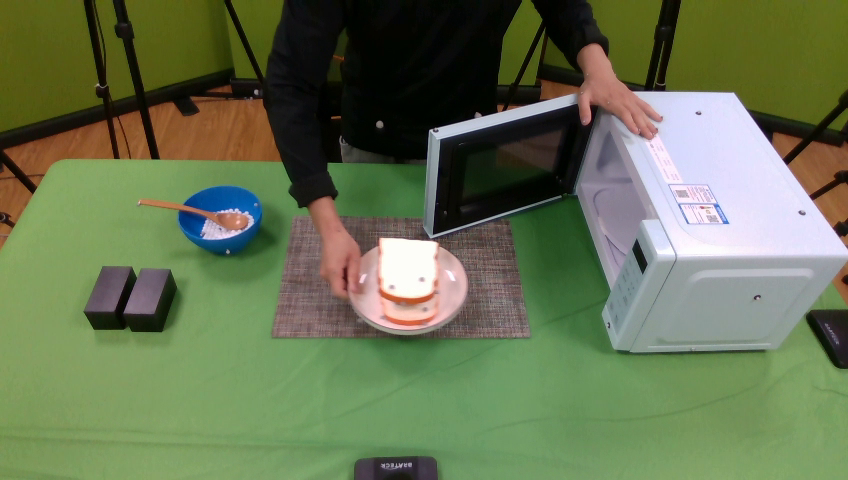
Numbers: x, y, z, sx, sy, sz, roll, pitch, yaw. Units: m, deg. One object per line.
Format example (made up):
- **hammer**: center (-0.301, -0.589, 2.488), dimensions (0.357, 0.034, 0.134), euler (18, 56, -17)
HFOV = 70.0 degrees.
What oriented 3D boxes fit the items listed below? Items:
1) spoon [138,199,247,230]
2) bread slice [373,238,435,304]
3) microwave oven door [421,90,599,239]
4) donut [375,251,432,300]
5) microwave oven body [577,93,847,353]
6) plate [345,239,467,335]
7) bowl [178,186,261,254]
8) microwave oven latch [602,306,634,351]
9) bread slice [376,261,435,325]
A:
- **spoon**: center (-0.431, -0.053, 1.135), dimensions (0.194, 0.022, 0.041), euler (15, 48, -20)
- **bread slice**: center (-0.032, 0.049, 1.002), dimensions (0.105, 0.019, 0.130), euler (4, 47, -5)
- **microwave oven door**: center (0.166, -0.147, 1.182), dimensions (0.356, 0.245, 0.039), euler (-18, 49, -20)
- **donut**: center (-0.033, 0.060, 1.027), dimensions (0.099, 0.048, 0.098), euler (-8, 41, 7)
- **microwave oven body**: center (0.475, -0.042, 1.109), dimensions (0.326, 0.261, 0.438), euler (-1, 45, -4)
- **plate**: center (-0.031, 0.084, 1.048), dimensions (0.208, 0.039, 0.206), euler (1, 45, 0)
- **bowl**: center (-0.383, -0.026, 1.158), dimensions (0.151, 0.077, 0.150), euler (2, 46, -2)
- **microwave oven latch**: center (0.332, 0.153, 1.044), dimensions (0.030, 0.029, 0.078), euler (0, 45, -4)
- **bread slice**: center (-0.029, 0.089, 1.043), dimensions (0.107, 0.018, 0.133), euler (-3, 45, -4)
